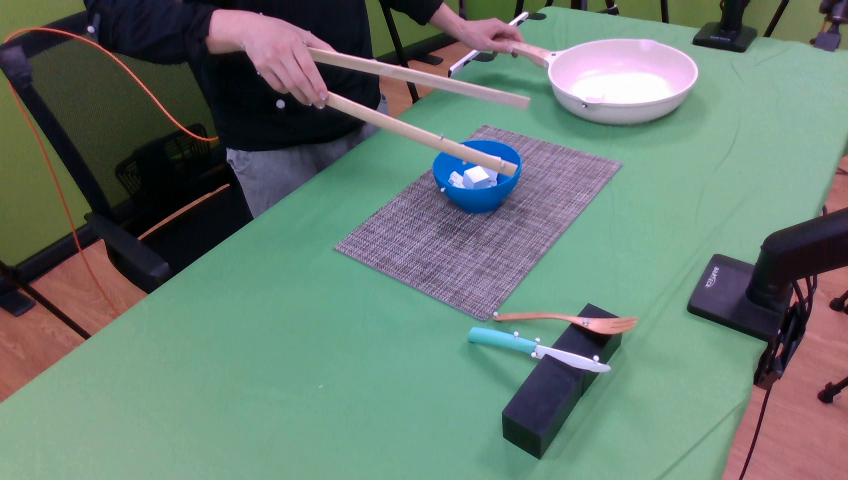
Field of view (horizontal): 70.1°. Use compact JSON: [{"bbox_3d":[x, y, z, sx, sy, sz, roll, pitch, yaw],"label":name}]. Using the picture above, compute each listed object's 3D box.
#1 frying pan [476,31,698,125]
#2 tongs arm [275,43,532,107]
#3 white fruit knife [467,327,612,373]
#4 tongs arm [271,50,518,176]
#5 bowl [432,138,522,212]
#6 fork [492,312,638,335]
[{"bbox_3d":[0.321,-0.371,1.290,0.484,0.103,0.307,29,51,24],"label":"frying pan"},{"bbox_3d":[-0.026,-0.245,0.908,0.389,0.028,0.028,10,64,-7],"label":"tongs arm"},{"bbox_3d":[0.134,0.134,0.742,0.205,0.027,0.016,7,34,41],"label":"white fruit knife"},{"bbox_3d":[-0.044,-0.182,0.868,0.385,0.026,0.050,20,60,-1],"label":"tongs arm"},{"bbox_3d":[0.091,-0.100,1.021,0.151,0.077,0.150,-4,41,4],"label":"bowl"},{"bbox_3d":[0.173,0.103,0.774,0.206,0.019,0.028,0,38,40],"label":"fork"}]
